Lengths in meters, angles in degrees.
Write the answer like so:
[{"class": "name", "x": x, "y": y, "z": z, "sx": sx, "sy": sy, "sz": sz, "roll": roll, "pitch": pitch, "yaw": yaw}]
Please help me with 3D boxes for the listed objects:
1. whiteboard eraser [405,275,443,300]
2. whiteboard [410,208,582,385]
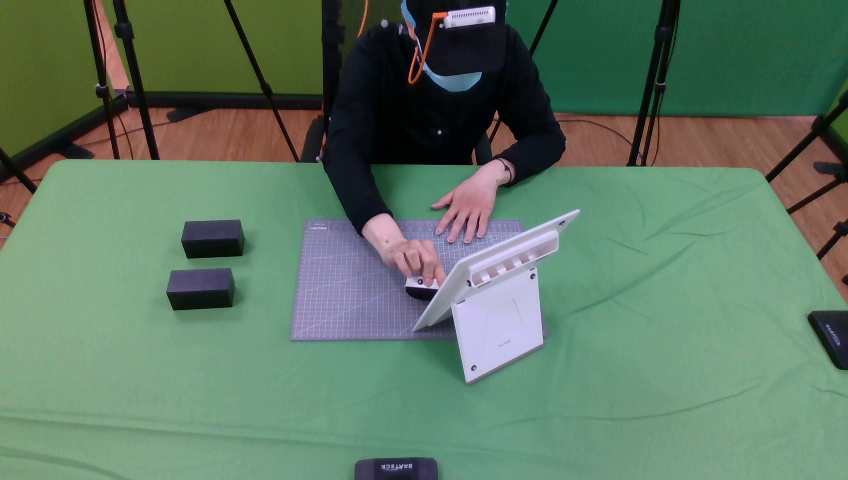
[{"class": "whiteboard eraser", "x": 0.028, "y": 0.084, "z": 1.053, "sx": 0.112, "sy": 0.056, "sz": 0.041, "roll": 2, "pitch": 75, "yaw": 18}, {"class": "whiteboard", "x": 0.132, "y": 0.109, "z": 0.945, "sx": 0.217, "sy": 0.306, "sz": 0.143, "roll": -21, "pitch": 72, "yaw": -22}]
